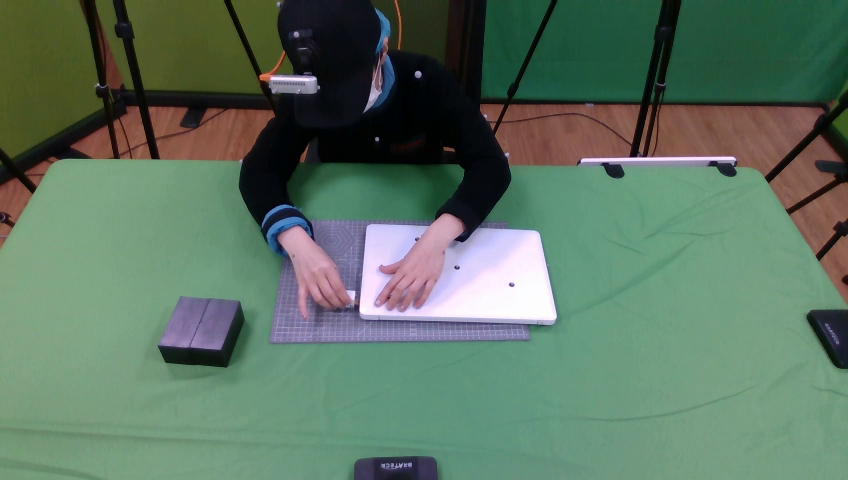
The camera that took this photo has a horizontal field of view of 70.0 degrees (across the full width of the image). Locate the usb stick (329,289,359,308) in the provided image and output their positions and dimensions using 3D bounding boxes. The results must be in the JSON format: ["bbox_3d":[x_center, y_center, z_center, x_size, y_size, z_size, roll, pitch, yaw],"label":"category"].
[{"bbox_3d":[-0.138,0.103,1.069,0.059,0.027,0.021,7,45,-5],"label":"usb stick"}]

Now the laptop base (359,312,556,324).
[{"bbox_3d":[0.060,0.063,1.145,0.354,0.023,0.234,2,43,-3],"label":"laptop base"}]

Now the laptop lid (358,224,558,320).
[{"bbox_3d":[0.061,0.053,1.138,0.357,0.013,0.240,3,44,-2],"label":"laptop lid"}]
